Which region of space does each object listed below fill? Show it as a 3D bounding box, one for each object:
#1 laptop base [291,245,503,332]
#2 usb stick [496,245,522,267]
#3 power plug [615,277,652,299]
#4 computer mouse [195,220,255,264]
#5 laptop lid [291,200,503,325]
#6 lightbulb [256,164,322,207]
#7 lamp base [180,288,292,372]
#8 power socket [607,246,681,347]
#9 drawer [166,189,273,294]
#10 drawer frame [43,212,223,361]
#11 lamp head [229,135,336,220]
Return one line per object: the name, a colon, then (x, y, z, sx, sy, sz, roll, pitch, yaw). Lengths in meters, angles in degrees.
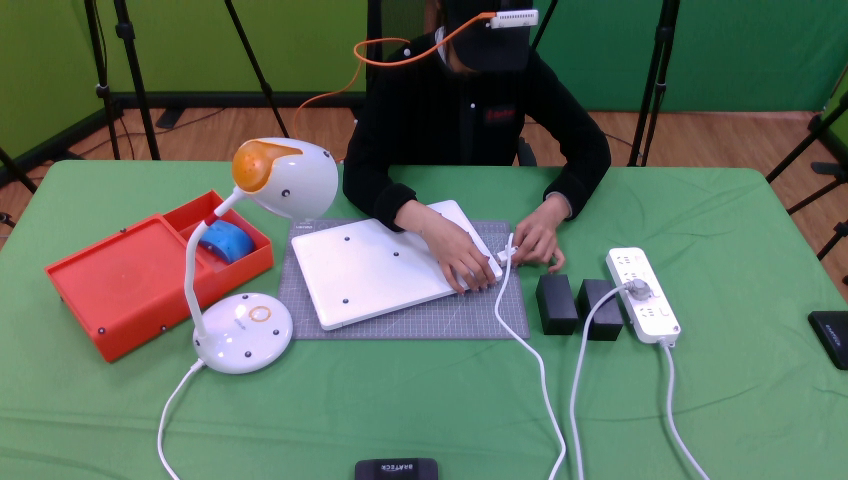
laptop base: (-0.054, 0.039, 1.157, 0.355, 0.023, 0.234, -15, 46, -17)
usb stick: (0.158, 0.033, 1.165, 0.059, 0.027, 0.021, -23, 60, -8)
power plug: (0.375, 0.088, 1.097, 0.072, 0.053, 0.035, 6, 46, 2)
computer mouse: (-0.380, -0.002, 1.153, 0.116, 0.041, 0.062, 28, 53, 28)
laptop lid: (-0.055, 0.029, 1.151, 0.357, 0.013, 0.240, -13, 46, -17)
lightbulb: (-0.182, -0.077, 0.811, 0.059, 0.059, 0.108, 37, 12, 28)
lamp base: (-0.309, 0.107, 0.959, 0.160, 0.181, 0.179, 29, 55, 22)
power socket: (0.403, 0.096, 1.123, 0.072, 0.033, 0.225, -3, 47, -5)
drawer: (-0.419, 0.022, 1.109, 0.193, 0.073, 0.211, 37, 55, 27)
drawer frame: (-0.497, 0.073, 1.049, 0.213, 0.083, 0.200, -34, 57, -31)
lamp head: (-0.196, -0.085, 0.791, 0.112, 0.112, 0.123, 36, 15, 27)
